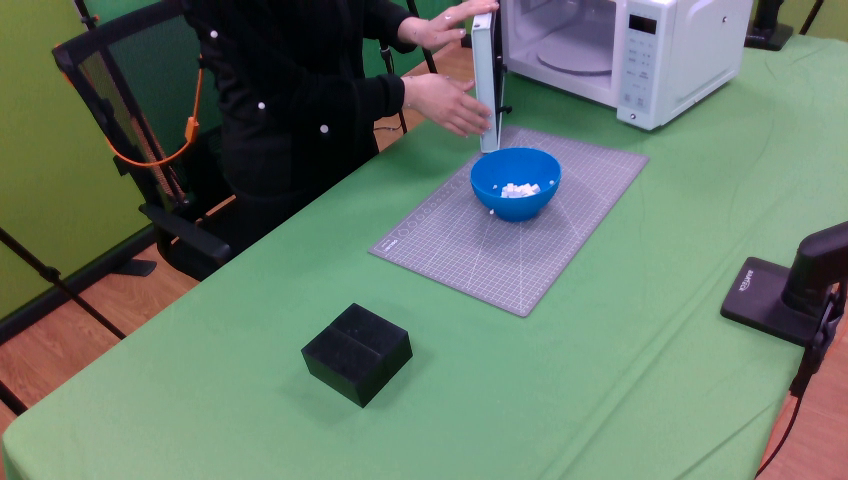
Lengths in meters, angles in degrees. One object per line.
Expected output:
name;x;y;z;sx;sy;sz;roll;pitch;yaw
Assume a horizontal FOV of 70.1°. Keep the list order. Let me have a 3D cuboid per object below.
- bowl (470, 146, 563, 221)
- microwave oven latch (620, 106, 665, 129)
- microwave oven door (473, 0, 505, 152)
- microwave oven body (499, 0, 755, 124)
bowl;0.155;-0.084;1.008;0.151;0.077;0.150;-6;40;5
microwave oven latch;0.412;-0.237;1.146;0.030;0.029;0.078;-32;44;-24
microwave oven door;0.133;-0.373;1.203;0.039;0.245;0.354;-1;41;10
microwave oven body;0.402;-0.458;1.259;0.327;0.261;0.437;-33;45;-24
